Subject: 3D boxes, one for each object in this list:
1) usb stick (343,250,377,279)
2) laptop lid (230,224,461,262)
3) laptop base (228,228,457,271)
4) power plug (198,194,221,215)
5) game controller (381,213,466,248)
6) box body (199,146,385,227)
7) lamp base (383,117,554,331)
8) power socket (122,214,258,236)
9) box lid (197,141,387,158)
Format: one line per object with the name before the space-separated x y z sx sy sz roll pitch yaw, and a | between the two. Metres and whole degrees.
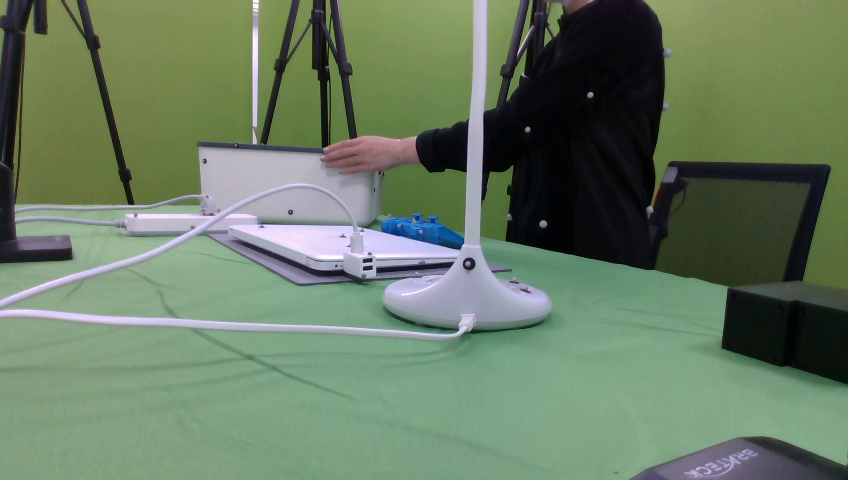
usb stick | -0.076 0.026 0.687 0.021 0.027 0.059 -8 9 -31
laptop lid | -0.120 0.000 0.888 0.243 0.013 0.355 1 7 -33
laptop base | -0.122 0.011 0.889 0.237 0.023 0.352 2 6 -35
power plug | -0.387 -0.055 1.089 0.035 0.052 0.072 -1 7 -22
game controller | -0.006 -0.017 1.039 0.097 0.051 0.154 -6 10 -33
box body | -0.276 -0.124 1.334 0.364 0.160 0.254 3 7 1
lamp base | 0.045 -0.019 0.547 0.161 0.180 0.179 2 10 -4
power socket | -0.398 -0.028 1.049 0.228 0.032 0.072 -3 8 -34
box lid | -0.275 -0.196 1.326 0.372 0.015 0.263 3 7 1
